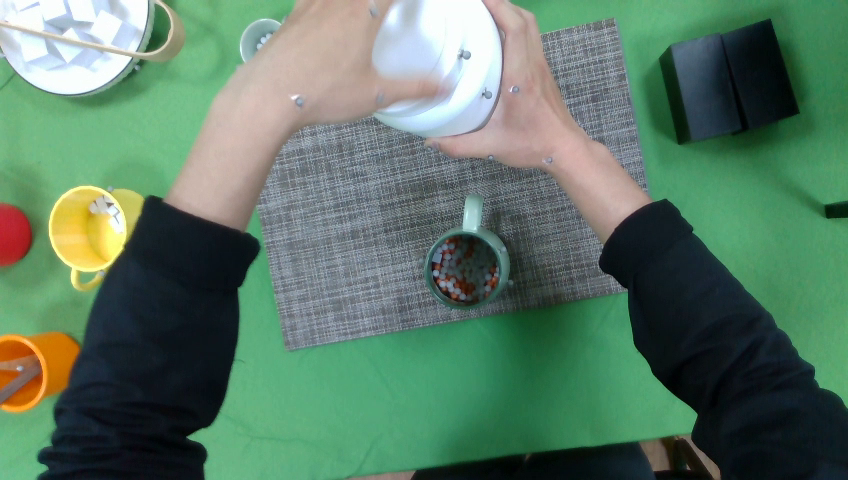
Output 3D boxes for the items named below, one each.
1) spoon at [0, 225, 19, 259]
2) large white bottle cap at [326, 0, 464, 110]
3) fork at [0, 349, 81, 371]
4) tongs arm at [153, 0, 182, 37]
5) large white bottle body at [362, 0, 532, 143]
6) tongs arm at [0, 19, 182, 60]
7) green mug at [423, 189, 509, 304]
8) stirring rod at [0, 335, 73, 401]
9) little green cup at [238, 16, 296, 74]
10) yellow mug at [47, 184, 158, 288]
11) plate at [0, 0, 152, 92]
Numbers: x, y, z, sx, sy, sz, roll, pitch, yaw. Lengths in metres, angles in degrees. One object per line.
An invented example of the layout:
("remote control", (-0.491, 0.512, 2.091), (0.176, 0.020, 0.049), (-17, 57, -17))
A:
("spoon", (-0.552, -0.048, 0.707), (0.041, 0.021, 0.196), (-15, 135, 7))
("large white bottle cap", (-0.024, -0.159, 0.469), (0.114, 0.018, 0.115), (1, 93, 25))
("fork", (-0.523, 0.145, 0.711), (0.209, 0.018, 0.028), (5, 91, -36))
("tongs arm", (-0.435, -0.344, 0.703), (0.386, 0.028, 0.028), (32, 90, 7))
("large white bottle body", (0.012, -0.161, 0.546), (0.130, 0.185, 0.130), (1, 93, 25))
("tongs arm", (-0.467, -0.267, 0.709), (0.384, 0.026, 0.051), (18, 91, 8))
("green mug", (0.046, 0.007, 0.651), (0.092, 0.105, 0.125), (6, 93, 8))
("stirring rod", (-0.494, 0.176, 0.715), (0.014, 0.006, 0.175), (39, 55, 4))
("little green cup", (-0.180, -0.223, 0.705), (0.061, 0.038, 0.061), (0, 93, 8))
("yellow mug", (-0.390, -0.002, 0.729), (0.100, 0.064, 0.131), (22, 96, 5))
("plate", (-0.423, -0.282, 0.735), (0.207, 0.039, 0.207), (0, 93, 7))
